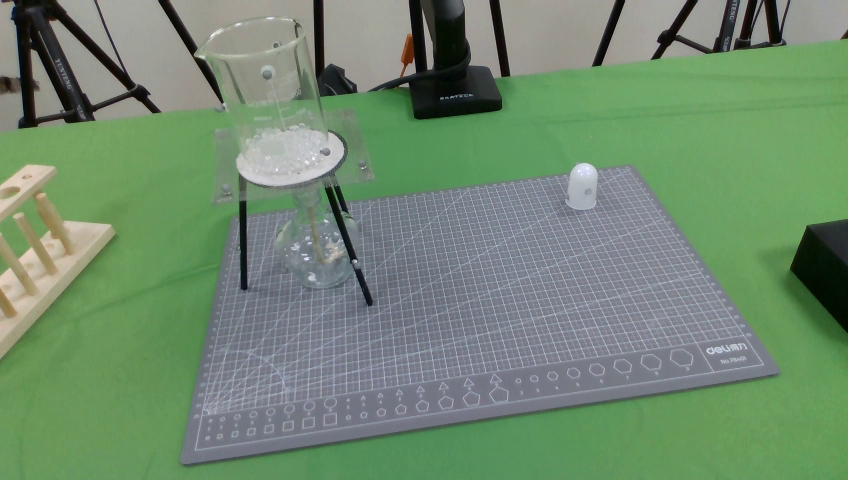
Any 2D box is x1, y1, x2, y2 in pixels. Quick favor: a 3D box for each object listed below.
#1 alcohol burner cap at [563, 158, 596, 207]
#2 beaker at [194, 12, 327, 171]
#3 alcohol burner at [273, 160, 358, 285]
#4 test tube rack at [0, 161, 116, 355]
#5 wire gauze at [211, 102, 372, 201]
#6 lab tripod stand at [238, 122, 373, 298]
[{"bbox_3d":[0.162,-0.061,0.625,0.034,0.048,0.033,-3,40,3],"label":"alcohol burner cap"},{"bbox_3d":[-0.119,-0.110,0.463,0.084,0.101,0.073,-12,40,-6],"label":"beaker"},{"bbox_3d":[-0.101,-0.018,0.546,0.078,0.120,0.077,-4,39,3],"label":"alcohol burner"},{"bbox_3d":[-0.392,0.032,0.544,0.066,0.086,0.240,5,41,12],"label":"test tube rack"},{"bbox_3d":[-0.111,-0.074,0.495,0.125,0.011,0.120,-13,39,-5],"label":"wire gauze"},{"bbox_3d":[-0.106,-0.024,0.538,0.148,0.133,0.147,-3,42,3],"label":"lab tripod stand"}]
